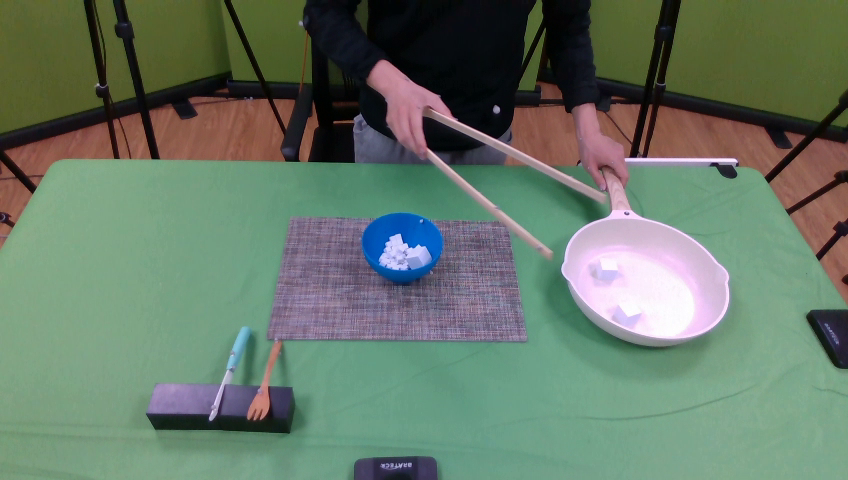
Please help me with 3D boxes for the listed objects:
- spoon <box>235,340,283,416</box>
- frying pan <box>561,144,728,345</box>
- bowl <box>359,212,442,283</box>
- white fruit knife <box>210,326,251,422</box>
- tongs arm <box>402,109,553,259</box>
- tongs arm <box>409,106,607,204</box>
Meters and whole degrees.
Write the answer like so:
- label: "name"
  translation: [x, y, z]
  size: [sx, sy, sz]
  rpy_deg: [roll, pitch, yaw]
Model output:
- label: "spoon"
  translation: [-0.245, 0.207, 0.932]
  size: [0.042, 0.022, 0.193]
  rpy_deg: [28, 25, -8]
- label: "frying pan"
  translation: [0.397, -0.008, 1.179]
  size: [0.307, 0.103, 0.485]
  rpy_deg: [2, 55, -4]
- label: "bowl"
  translation: [-0.044, 0.026, 1.125]
  size: [0.151, 0.077, 0.150]
  rpy_deg: [2, 46, -2]
- label: "white fruit knife"
  translation: [-0.300, 0.201, 0.942]
  size: [0.016, 0.027, 0.206]
  rpy_deg: [-2, 32, 1]
- label: "tongs arm"
  translation: [0.083, -0.103, 1.014]
  size: [0.051, 0.027, 0.382]
  rpy_deg: [-42, 62, -13]
- label: "tongs arm"
  translation: [0.134, -0.151, 1.034]
  size: [0.386, 0.028, 0.028]
  rpy_deg: [30, 74, 23]
